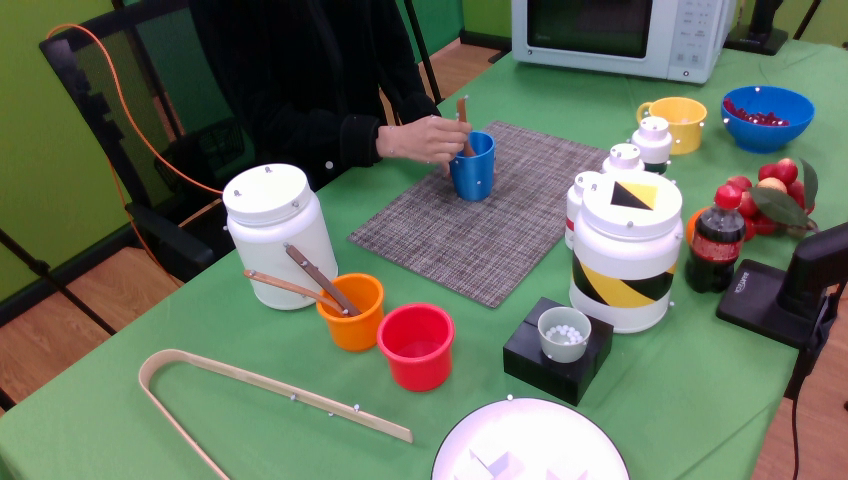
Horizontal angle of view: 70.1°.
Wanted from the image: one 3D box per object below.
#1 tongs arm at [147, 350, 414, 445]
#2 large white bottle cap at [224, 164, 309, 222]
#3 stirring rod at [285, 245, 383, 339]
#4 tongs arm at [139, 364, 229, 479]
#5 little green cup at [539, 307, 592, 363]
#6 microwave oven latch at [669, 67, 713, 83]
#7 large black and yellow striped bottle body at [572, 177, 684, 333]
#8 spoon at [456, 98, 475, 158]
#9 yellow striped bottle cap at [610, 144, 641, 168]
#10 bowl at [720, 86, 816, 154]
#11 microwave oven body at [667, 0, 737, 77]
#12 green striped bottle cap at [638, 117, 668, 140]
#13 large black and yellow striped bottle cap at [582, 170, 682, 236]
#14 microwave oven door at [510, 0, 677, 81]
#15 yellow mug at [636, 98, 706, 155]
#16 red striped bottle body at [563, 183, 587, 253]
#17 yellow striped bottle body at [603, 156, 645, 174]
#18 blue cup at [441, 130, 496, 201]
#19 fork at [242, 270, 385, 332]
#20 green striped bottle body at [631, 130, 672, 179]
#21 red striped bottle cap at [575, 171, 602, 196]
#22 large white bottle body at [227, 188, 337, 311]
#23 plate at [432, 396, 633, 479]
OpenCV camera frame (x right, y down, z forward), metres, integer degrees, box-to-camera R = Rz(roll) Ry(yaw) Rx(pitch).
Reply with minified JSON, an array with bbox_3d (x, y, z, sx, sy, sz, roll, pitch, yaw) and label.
[{"bbox_3d":[-0.193,0.200,0.757,0.382,0.026,0.051,14,49,24],"label":"tongs arm"},{"bbox_3d":[-0.216,-0.066,0.829,0.115,0.018,0.114,-4,40,4],"label":"large white bottle cap"},{"bbox_3d":[-0.121,0.071,0.820,0.176,0.006,0.014,44,52,-6],"label":"stirring rod"},{"bbox_3d":[-0.241,0.254,0.706,0.384,0.028,0.028,27,59,34],"label":"tongs arm"},{"bbox_3d":[0.168,0.115,0.721,0.061,0.039,0.061,-4,42,4],"label":"little green cup"},{"bbox_3d":[0.556,-0.349,1.261,0.078,0.029,0.030,16,46,27],"label":"microwave oven latch"},{"bbox_3d":[0.262,0.017,0.788,0.131,0.185,0.130,-5,40,4],"label":"large black and yellow striped bottle body"},{"bbox_3d":[0.066,-0.162,0.964,0.041,0.195,0.021,-12,59,6],"label":"spoon"},{"bbox_3d":[0.307,-0.128,0.923,0.044,0.019,0.044,-6,39,5],"label":"yellow striped bottle cap"},{"bbox_3d":[0.605,-0.206,1.081,0.151,0.077,0.150,-5,40,5],"label":"bowl"},{"bbox_3d":[0.462,-0.552,1.368,0.439,0.261,0.326,14,45,26],"label":"microwave oven body"},{"bbox_3d":[0.369,-0.180,0.974,0.044,0.020,0.044,-4,41,4],"label":"green striped bottle cap"},{"bbox_3d":[0.252,-0.048,0.735,0.115,0.019,0.114,-3,40,3],"label":"large black and yellow striped bottle cap"},{"bbox_3d":[0.354,-0.478,1.290,0.353,0.245,0.039,15,45,25],"label":"microwave oven door"},{"bbox_3d":[0.453,-0.217,1.128,0.100,0.064,0.129,-34,46,-27],"label":"yellow mug"},{"bbox_3d":[0.246,-0.041,0.910,0.063,0.120,0.062,-2,38,2],"label":"red striped bottle body"},{"bbox_3d":[0.313,-0.089,0.956,0.063,0.121,0.062,-4,40,4],"label":"yellow striped bottle body"},{"bbox_3d":[0.084,-0.123,1.041,0.092,0.101,0.092,-5,43,5],"label":"blue cup"},{"bbox_3d":[-0.142,0.082,0.802,0.209,0.018,0.028,28,38,-26],"label":"fork"},{"bbox_3d":[0.375,-0.140,1.007,0.063,0.120,0.063,-5,40,5],"label":"green striped bottle body"},{"bbox_3d":[0.242,-0.081,0.876,0.044,0.018,0.044,-5,44,5],"label":"red striped bottle cap"},{"bbox_3d":[-0.207,-0.002,0.883,0.130,0.185,0.130,-4,40,4],"label":"large white bottle body"},{"bbox_3d":[0.112,0.261,0.634,0.209,0.038,0.208,-5,40,4],"label":"plate"}]
